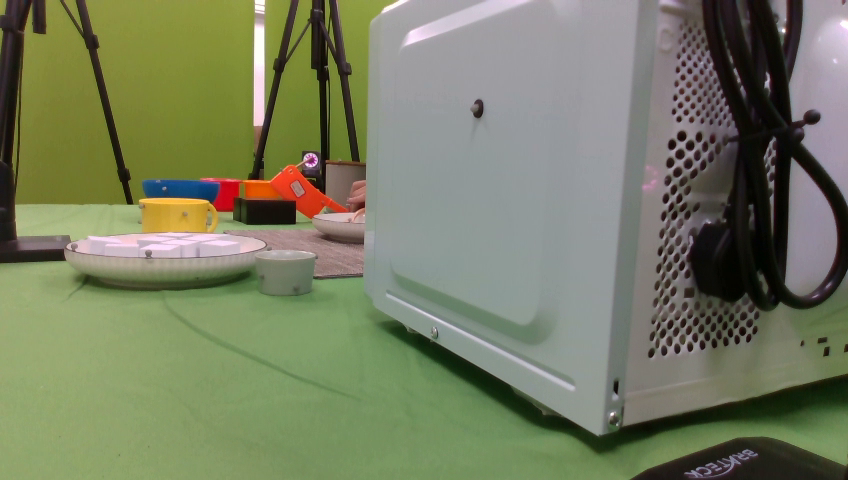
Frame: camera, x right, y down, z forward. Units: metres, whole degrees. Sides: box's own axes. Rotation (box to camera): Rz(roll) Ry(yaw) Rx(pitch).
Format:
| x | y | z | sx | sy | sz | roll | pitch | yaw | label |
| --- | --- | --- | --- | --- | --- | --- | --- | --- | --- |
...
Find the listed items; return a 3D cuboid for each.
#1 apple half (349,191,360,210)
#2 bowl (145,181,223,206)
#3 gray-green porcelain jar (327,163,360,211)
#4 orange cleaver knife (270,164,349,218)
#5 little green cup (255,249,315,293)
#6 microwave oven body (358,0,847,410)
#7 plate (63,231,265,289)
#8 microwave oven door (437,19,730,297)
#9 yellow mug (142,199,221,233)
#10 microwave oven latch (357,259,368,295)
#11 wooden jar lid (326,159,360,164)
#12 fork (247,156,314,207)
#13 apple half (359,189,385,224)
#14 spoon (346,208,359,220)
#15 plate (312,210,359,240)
| x | y | z | sx | sy | sz | roll | pitch | yaw | label |
| --- | --- | --- | --- | --- | --- | --- | --- | --- | --- |
| -0.131 | -0.070 | 1.289 | 0.053 | 0.074 | 0.081 | 1 | 11 | 31 | apple half |
| -0.499 | -0.081 | 1.261 | 0.151 | 0.077 | 0.151 | 2 | 8 | 0 | bowl |
| -0.187 | -0.125 | 1.490 | 0.106 | 0.126 | 0.106 | 2 | 8 | 0 | gray-green porcelain jar |
| -0.240 | -0.088 | 1.329 | 0.212 | 0.077 | 0.012 | 36 | -9 | -34 | orange cleaver knife |
| -0.144 | 0.032 | 0.627 | 0.061 | 0.038 | 0.061 | 2 | 5 | 0 | little green cup |
| 0.210 | -0.051 | 0.471 | 0.444 | 0.260 | 0.324 | -1 | 7 | -28 | microwave oven body |
| -0.288 | 0.021 | 0.687 | 0.208 | 0.039 | 0.207 | 2 | 8 | 0 | plate |
| 0.180 | -0.076 | 0.618 | 0.358 | 0.243 | 0.039 | -2 | 9 | -28 | microwave oven door |
| -0.372 | -0.030 | 0.948 | 0.099 | 0.064 | 0.131 | 6 | 7 | 30 | yellow mug |
| -0.019 | 0.031 | 0.529 | 0.079 | 0.029 | 0.030 | -1 | 7 | -26 | microwave oven latch |
| -0.185 | -0.187 | 1.481 | 0.108 | 0.020 | 0.108 | 4 | 6 | 0 | wooden jar lid |
| -0.360 | -0.147 | 1.523 | 0.207 | 0.018 | 0.028 | -43 | 15 | -7 | fork |
| -0.102 | -0.069 | 1.269 | 0.032 | 0.081 | 0.081 | 10 | 11 | 30 | apple half |
| -0.124 | -0.047 | 1.117 | 0.041 | 0.021 | 0.194 | -10 | 16 | 19 | spoon |
| -0.091 | -0.026 | 1.063 | 0.209 | 0.038 | 0.209 | 2 | 8 | 0 | plate |
